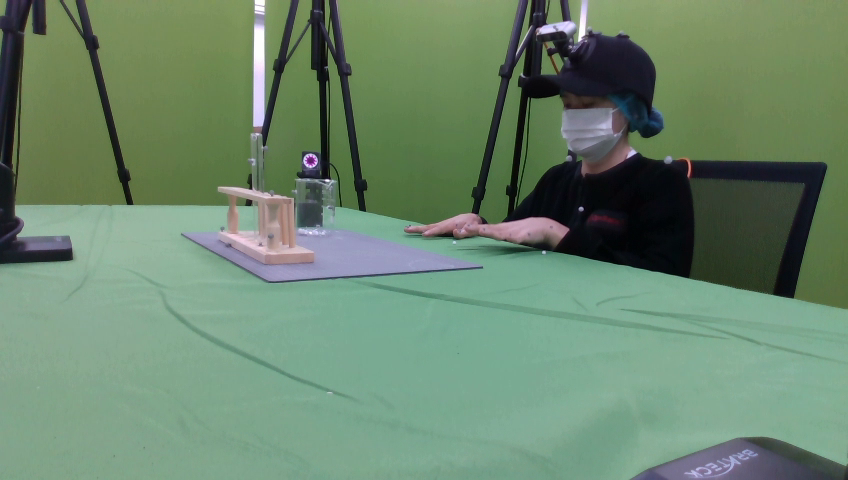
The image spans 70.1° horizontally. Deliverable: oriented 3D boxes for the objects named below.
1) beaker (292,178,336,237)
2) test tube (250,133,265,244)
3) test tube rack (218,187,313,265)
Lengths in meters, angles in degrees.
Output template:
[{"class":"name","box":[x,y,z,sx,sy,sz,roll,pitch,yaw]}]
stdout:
[{"class":"beaker","box":[-0.195,-0.058,1.080,0.074,0.100,0.083,-4,11,-40]},{"class":"test tube","box":[-0.227,-0.070,0.825,0.017,0.150,0.017,-1,3,0]},{"class":"test tube rack","box":[-0.235,-0.027,0.872,0.067,0.085,0.241,-2,8,-32]}]
